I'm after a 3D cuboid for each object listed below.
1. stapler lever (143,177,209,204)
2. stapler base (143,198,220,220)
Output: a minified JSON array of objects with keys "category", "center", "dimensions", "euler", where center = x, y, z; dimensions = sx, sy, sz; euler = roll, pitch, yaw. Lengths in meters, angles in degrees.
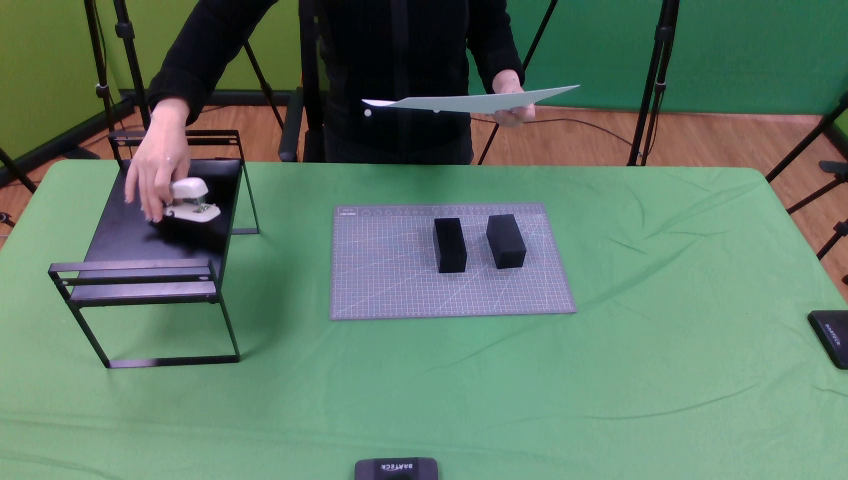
[{"category":"stapler lever","center":[-0.379,-0.078,0.924],"dimensions":[0.118,0.040,0.027],"euler":[9,29,23]},{"category":"stapler base","center":[-0.376,-0.056,0.935],"dimensions":[0.130,0.024,0.041],"euler":[8,29,23]}]
